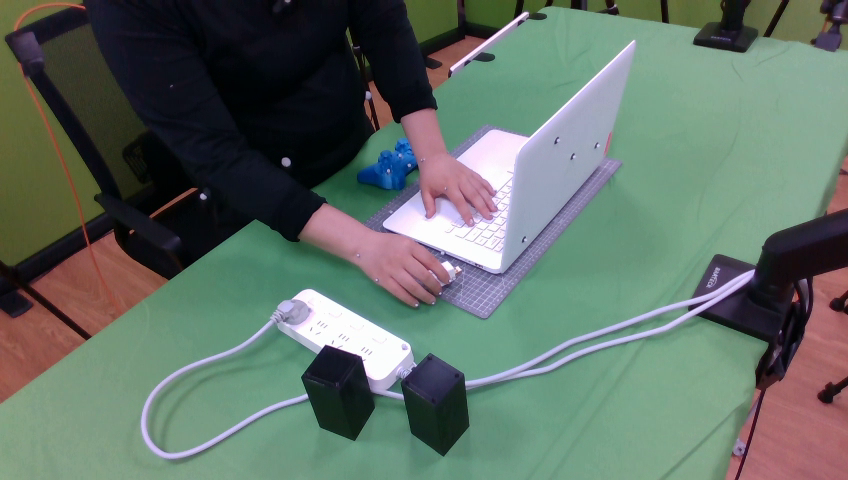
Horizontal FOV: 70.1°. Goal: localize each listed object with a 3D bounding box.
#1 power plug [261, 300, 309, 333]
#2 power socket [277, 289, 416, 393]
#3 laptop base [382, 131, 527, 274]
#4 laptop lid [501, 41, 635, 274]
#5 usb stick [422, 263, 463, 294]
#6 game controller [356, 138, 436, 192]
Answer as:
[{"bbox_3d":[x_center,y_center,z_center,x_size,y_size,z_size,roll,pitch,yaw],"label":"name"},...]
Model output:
[{"bbox_3d":[-0.192,0.110,0.829,0.073,0.053,0.035,-35,47,-24],"label":"power plug"},{"bbox_3d":[-0.113,0.132,0.820,0.225,0.033,0.072,25,49,32],"label":"power socket"},{"bbox_3d":[0.124,-0.080,1.048,0.233,0.023,0.355,20,47,33],"label":"laptop base"},{"bbox_3d":[0.219,-0.127,0.905,0.013,0.242,0.358,28,50,25],"label":"laptop lid"},{"bbox_3d":[0.029,0.054,0.883,0.059,0.027,0.021,-25,36,-17],"label":"usb stick"},{"bbox_3d":[-0.048,-0.149,1.135,0.096,0.052,0.155,27,51,28],"label":"game controller"}]
